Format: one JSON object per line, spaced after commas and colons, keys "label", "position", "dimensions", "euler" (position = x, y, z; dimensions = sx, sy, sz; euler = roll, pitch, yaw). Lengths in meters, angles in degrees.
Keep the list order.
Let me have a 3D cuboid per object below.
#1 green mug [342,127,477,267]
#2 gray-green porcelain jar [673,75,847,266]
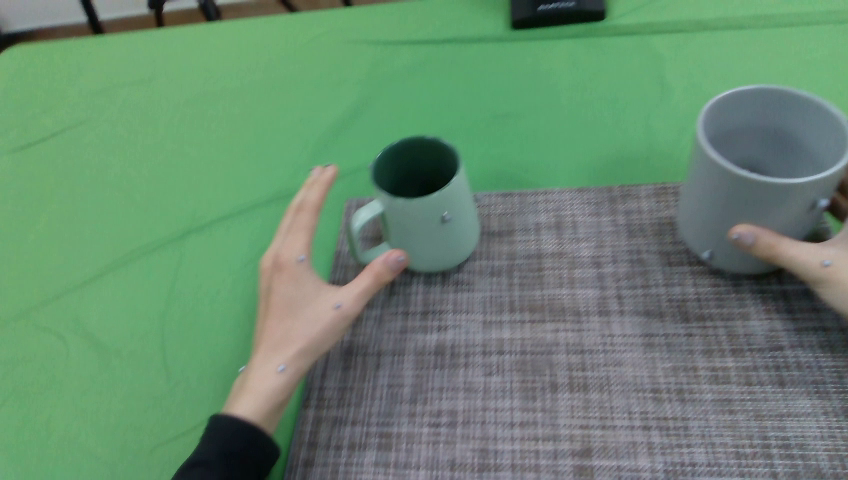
{"label": "green mug", "position": [-0.015, -0.028, 0.541], "dimensions": [0.125, 0.106, 0.091], "euler": [-33, 54, -14]}
{"label": "gray-green porcelain jar", "position": [0.261, -0.048, 0.486], "dimensions": [0.106, 0.128, 0.105], "euler": [-6, 52, 8]}
